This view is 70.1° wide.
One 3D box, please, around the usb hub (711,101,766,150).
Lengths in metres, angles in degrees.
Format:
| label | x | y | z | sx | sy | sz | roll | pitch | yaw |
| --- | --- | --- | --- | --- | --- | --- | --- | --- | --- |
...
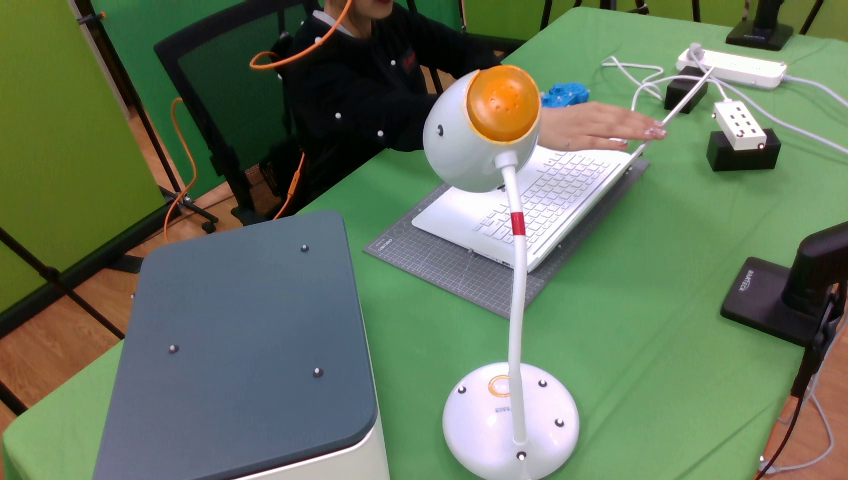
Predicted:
| label | x | y | z | sx | sy | sz | roll | pitch | yaw |
| --- | --- | --- | --- | --- | --- | --- | --- | --- | --- |
| usb hub | 0.537 | -0.198 | 1.038 | 0.049 | 0.025 | 0.124 | -5 | 39 | 8 |

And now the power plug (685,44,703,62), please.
| label | x | y | z | sx | sy | sz | roll | pitch | yaw |
| --- | --- | --- | --- | --- | --- | --- | --- | --- | --- |
| power plug | 0.568 | -0.390 | 1.294 | 0.073 | 0.053 | 0.035 | -33 | 46 | -22 |

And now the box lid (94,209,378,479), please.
| label | x | y | z | sx | sy | sz | roll | pitch | yaw |
| --- | --- | --- | --- | --- | --- | --- | --- | --- | --- |
| box lid | -0.202 | 0.094 | 0.680 | 0.264 | 0.015 | 0.368 | -13 | 39 | -5 |

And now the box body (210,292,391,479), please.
| label | x | y | z | sx | sy | sz | roll | pitch | yaw |
| --- | --- | --- | --- | --- | --- | --- | --- | --- | --- |
| box body | -0.190 | 0.161 | 0.723 | 0.255 | 0.161 | 0.361 | -13 | 40 | -5 |

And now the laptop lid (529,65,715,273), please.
| label | x | y | z | sx | sy | sz | roll | pitch | yaw |
| --- | --- | --- | --- | --- | --- | --- | --- | --- | --- |
| laptop lid | 0.294 | -0.104 | 0.895 | 0.013 | 0.241 | 0.358 | 42 | 56 | 10 |

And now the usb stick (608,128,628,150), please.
| label | x | y | z | sx | sy | sz | roll | pitch | yaw |
| --- | --- | --- | --- | --- | --- | --- | --- | --- | --- |
| usb stick | 0.353 | -0.178 | 1.110 | 0.021 | 0.027 | 0.059 | 21 | 57 | 30 |

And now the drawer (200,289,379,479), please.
| label | x | y | z | sx | sy | sz | roll | pitch | yaw |
| --- | --- | --- | --- | --- | --- | --- | --- | --- | --- |
| drawer | -0.172 | 0.176 | 0.760 | 0.195 | 0.073 | 0.210 | -13 | 42 | -8 |

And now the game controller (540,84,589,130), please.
| label | x | y | z | sx | sy | sz | roll | pitch | yaw |
| --- | --- | --- | --- | --- | --- | --- | --- | --- | --- |
| game controller | 0.273 | -0.282 | 1.251 | 0.096 | 0.052 | 0.155 | 26 | 52 | 30 |

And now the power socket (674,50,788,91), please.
| label | x | y | z | sx | sy | sz | roll | pitch | yaw |
| --- | --- | --- | --- | --- | --- | --- | --- | --- | --- |
| power socket | 0.647 | -0.363 | 1.284 | 0.225 | 0.033 | 0.072 | 25 | 52 | 34 |

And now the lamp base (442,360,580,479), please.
| label | x | y | z | sx | sy | sz | roll | pitch | yaw |
| --- | --- | --- | --- | --- | --- | --- | --- | --- | --- |
| lamp base | 0.094 | 0.158 | 0.657 | 0.161 | 0.181 | 0.178 | -13 | 42 | -5 |

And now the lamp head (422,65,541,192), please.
| label | x | y | z | sx | sy | sz | roll | pitch | yaw |
| --- | --- | --- | --- | --- | --- | --- | --- | --- | --- |
| lamp head | 0.060 | -0.106 | 0.560 | 0.113 | 0.112 | 0.122 | -16 | 0 | -8 |

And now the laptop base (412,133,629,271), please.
| label | x | y | z | sx | sy | sz | roll | pitch | yaw |
| --- | --- | --- | --- | --- | --- | --- | --- | --- | --- |
| laptop base | 0.176 | -0.084 | 1.054 | 0.233 | 0.023 | 0.355 | 21 | 48 | 36 |
